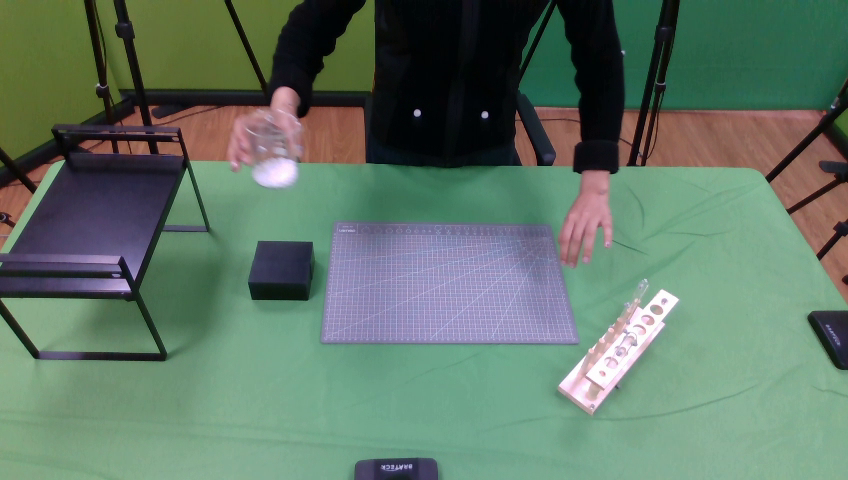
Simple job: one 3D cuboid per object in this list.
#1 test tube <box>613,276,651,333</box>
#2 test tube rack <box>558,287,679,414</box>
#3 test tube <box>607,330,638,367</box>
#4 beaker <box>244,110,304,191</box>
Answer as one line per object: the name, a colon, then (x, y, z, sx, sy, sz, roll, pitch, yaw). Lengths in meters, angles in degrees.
test tube: (0.344, 0.109, 1.007, 0.017, 0.151, 0.017, 3, 48, -3)
test tube rack: (0.326, 0.170, 1.009, 0.066, 0.085, 0.242, 36, 54, 27)
test tube: (0.293, 0.184, 0.925, 0.017, 0.151, 0.017, 4, 49, -4)
beaker: (-0.220, -0.131, 0.900, 0.084, 0.101, 0.073, 0, 44, -10)
